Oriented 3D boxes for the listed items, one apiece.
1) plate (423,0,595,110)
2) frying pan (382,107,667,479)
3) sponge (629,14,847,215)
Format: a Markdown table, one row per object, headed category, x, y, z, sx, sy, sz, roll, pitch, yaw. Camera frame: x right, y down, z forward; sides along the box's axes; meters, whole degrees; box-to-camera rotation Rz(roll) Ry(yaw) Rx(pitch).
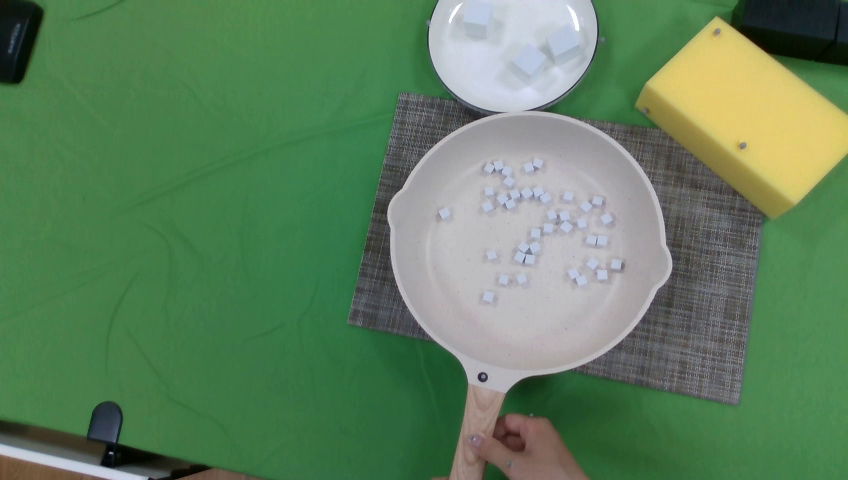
| category | x | y | z | sx | sy | sz | roll | pitch | yaw |
| --- | --- | --- | --- | --- | --- | --- | --- | --- | --- |
| plate | 0.104 | -0.255 | 0.754 | 0.207 | 0.039 | 0.207 | -1 | 80 | 7 |
| frying pan | 0.076 | 0.092 | 0.643 | 0.306 | 0.103 | 0.485 | 14 | 71 | 11 |
| sponge | 0.358 | -0.143 | 0.689 | 0.118 | 0.061 | 0.206 | -45 | 77 | -4 |
